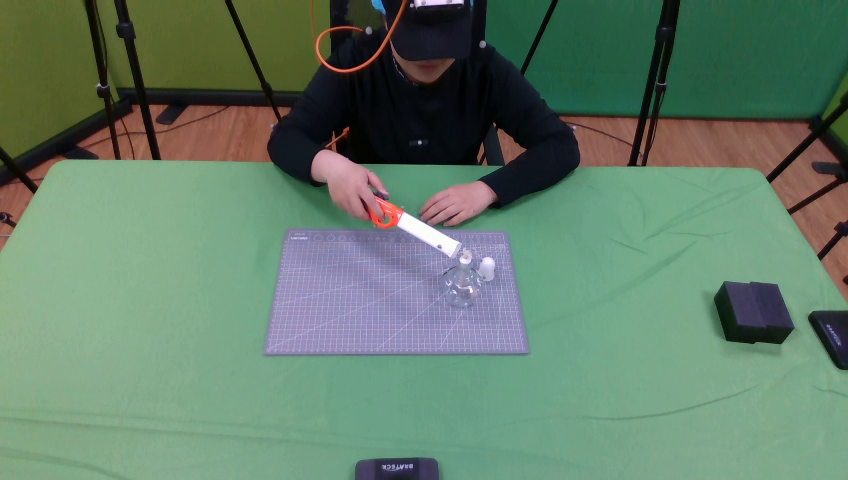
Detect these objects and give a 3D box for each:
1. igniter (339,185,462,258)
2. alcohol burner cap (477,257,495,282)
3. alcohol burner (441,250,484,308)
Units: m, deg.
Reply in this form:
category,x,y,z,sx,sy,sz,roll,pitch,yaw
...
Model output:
category,x,y,z,sx,sy,sz,roll,pitch,yaw
igniter,-0.051,-0.040,1.107,0.275,0.025,0.057,28,95,28
alcohol burner cap,0.118,0.053,1.140,0.034,0.048,0.033,2,46,-2
alcohol burner,0.069,0.064,1.075,0.078,0.120,0.077,1,45,-1
